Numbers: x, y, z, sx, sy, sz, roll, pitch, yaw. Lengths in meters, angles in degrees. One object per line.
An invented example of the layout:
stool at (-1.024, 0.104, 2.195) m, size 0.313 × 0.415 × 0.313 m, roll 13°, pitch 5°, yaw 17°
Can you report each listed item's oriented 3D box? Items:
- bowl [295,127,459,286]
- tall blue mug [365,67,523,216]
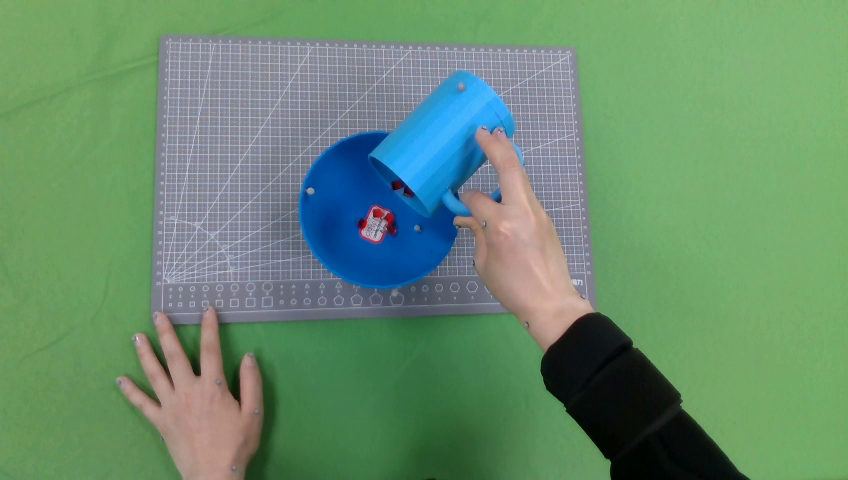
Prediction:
bowl at (-0.046, -0.025, 0.592) m, size 0.152 × 0.077 × 0.151 m, roll 1°, pitch 81°, yaw -8°
tall blue mug at (0.022, -0.079, 0.516) m, size 0.108 × 0.106 × 0.078 m, roll -45°, pitch 132°, yaw -8°
